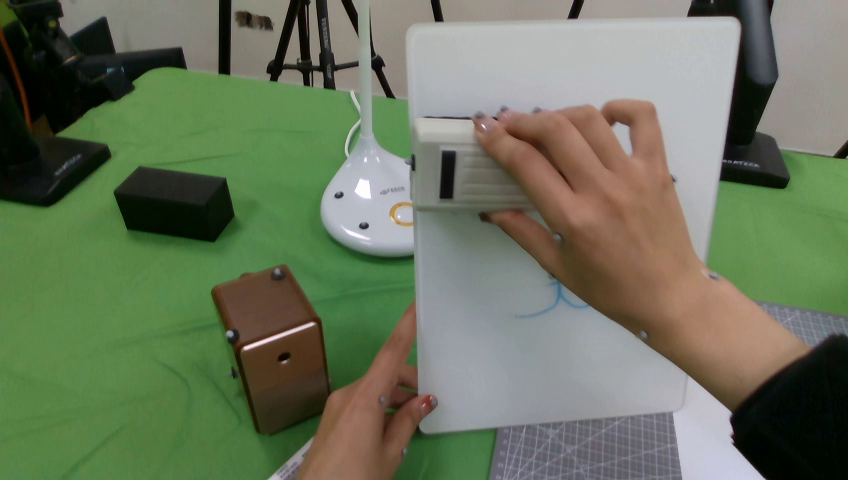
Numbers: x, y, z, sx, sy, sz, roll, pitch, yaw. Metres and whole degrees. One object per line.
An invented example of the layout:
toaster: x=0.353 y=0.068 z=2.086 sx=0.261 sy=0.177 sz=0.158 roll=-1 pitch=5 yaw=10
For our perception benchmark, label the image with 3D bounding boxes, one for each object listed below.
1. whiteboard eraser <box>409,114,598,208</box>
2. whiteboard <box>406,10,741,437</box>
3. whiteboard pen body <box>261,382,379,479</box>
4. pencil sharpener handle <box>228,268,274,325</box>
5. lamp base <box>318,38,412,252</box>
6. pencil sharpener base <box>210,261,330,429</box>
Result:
whiteboard eraser: x=0.048 y=-0.050 z=0.379 sx=0.113 sy=0.056 sz=0.041 roll=0 pitch=26 yaw=-7
whiteboard: x=0.093 y=-0.020 z=0.490 sx=0.217 sy=0.307 sz=0.142 roll=-3 pitch=21 yaw=-5
whiteboard pen body: x=-0.083 y=0.152 z=0.451 sx=0.017 sy=0.017 sz=0.140 roll=27 pitch=43 yaw=26
pencil sharpener handle: x=-0.141 y=0.041 z=0.495 sx=0.036 sy=0.068 sz=0.030 roll=-25 pitch=46 yaw=-17
lamp base: x=-0.042 y=-0.107 z=0.637 sx=0.161 sy=0.182 sz=0.177 roll=-23 pitch=44 yaw=-27
pencil sharpener base: x=-0.118 y=0.080 z=0.469 sx=0.061 sy=0.108 sz=0.076 roll=-19 pitch=44 yaw=-23
